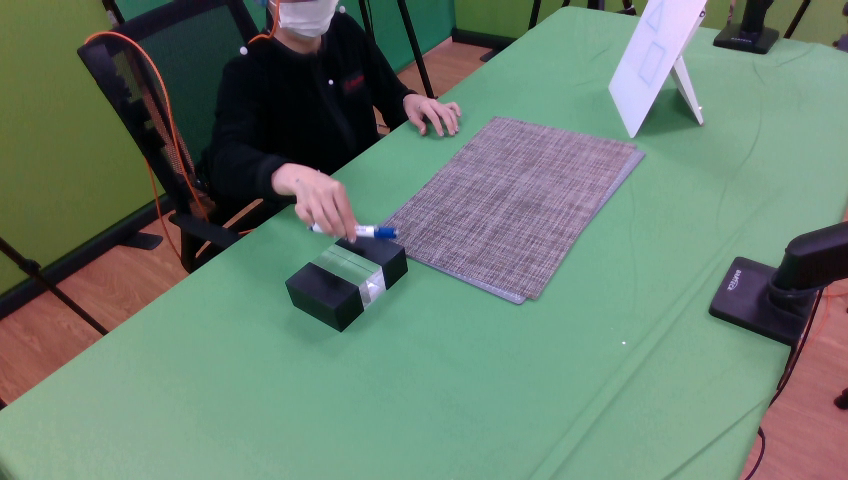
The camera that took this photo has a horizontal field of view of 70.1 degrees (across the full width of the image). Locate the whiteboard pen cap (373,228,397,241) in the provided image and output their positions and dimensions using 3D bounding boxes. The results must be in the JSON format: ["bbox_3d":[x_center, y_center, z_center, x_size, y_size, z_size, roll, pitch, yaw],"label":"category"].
[{"bbox_3d":[-0.057,-0.008,0.869,0.033,0.018,0.018,7,42,27],"label":"whiteboard pen cap"}]

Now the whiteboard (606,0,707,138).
[{"bbox_3d":[0.496,-0.359,1.147,0.144,0.305,0.216,11,40,-7],"label":"whiteboard"}]

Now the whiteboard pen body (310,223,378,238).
[{"bbox_3d":[-0.110,-0.013,0.897,0.140,0.017,0.017,4,41,26],"label":"whiteboard pen body"}]
